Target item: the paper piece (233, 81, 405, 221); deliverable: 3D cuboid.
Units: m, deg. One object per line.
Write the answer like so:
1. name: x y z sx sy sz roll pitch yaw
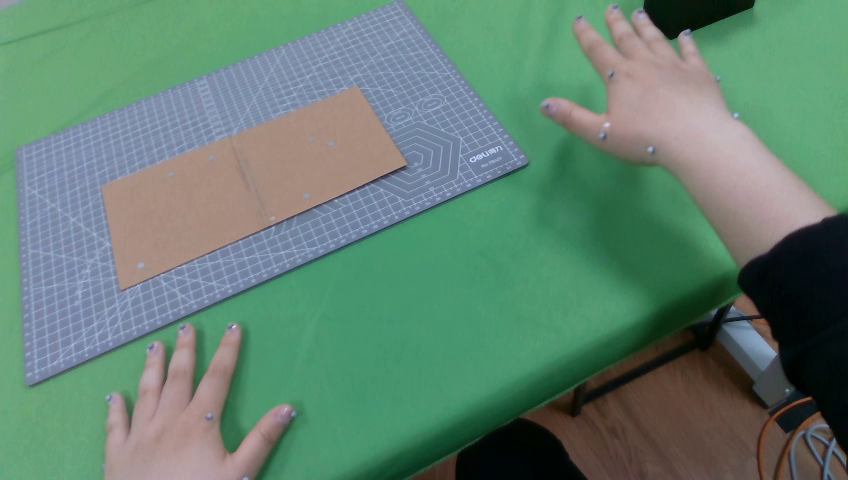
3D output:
1. paper piece: -0.104 -0.091 0.578 0.135 0.004 0.134 -25 54 -8

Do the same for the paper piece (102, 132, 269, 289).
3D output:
1. paper piece: -0.224 -0.034 0.559 0.138 0.009 0.134 -25 52 -7
